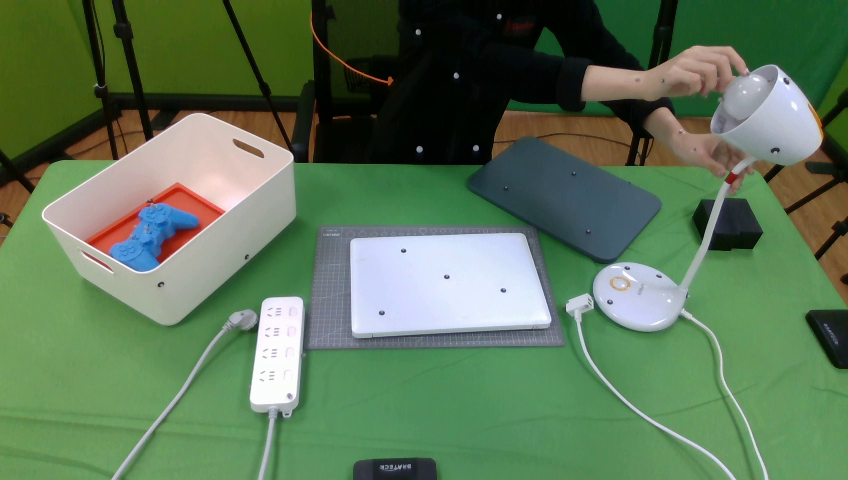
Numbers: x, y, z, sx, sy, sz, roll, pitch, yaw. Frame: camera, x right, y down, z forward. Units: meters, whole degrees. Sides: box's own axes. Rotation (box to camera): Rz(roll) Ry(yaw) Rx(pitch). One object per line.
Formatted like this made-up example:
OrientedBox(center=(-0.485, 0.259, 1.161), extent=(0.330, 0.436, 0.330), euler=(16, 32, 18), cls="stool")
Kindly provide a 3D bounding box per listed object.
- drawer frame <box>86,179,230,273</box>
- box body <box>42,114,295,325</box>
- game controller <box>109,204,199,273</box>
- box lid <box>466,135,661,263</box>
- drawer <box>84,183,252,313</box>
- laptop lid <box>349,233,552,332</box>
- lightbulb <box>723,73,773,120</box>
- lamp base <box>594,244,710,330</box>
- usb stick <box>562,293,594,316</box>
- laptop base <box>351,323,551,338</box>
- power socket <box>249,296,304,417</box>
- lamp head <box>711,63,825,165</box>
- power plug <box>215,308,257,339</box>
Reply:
OrientedBox(center=(-0.453, 0.010, 1.100), extent=(0.201, 0.083, 0.213), euler=(28, 54, 23), cls="drawer frame")
OrientedBox(center=(-0.437, -0.046, 1.110), extent=(0.253, 0.161, 0.363), euler=(24, 49, 19), cls="box body")
OrientedBox(center=(-0.467, -0.005, 1.044), extent=(0.097, 0.052, 0.154), euler=(8, 45, 10), cls="game controller")
OrientedBox(center=(0.306, -0.102, 1.327), extent=(0.370, 0.015, 0.263), euler=(32, 52, 25), cls="box lid")
OrientedBox(center=(-0.457, 0.008, 1.099), extent=(0.194, 0.073, 0.211), euler=(29, 49, 21), cls="drawer")
OrientedBox(center=(0.040, 0.070, 1.119), extent=(0.357, 0.013, 0.240), euler=(-1, 44, -5), cls="laptop lid")
OrientedBox(center=(0.448, -0.177, 0.807), extent=(0.108, 0.059, 0.059), euler=(35, 47, -12), cls="lightbulb")
OrientedBox(center=(0.412, 0.052, 1.070), extent=(0.179, 0.181, 0.160), euler=(18, 48, 9), cls="lamp base")
OrientedBox(center=(0.275, 0.118, 1.087), extent=(0.021, 0.059, 0.027), euler=(38, 45, -27), cls="usb stick")
OrientedBox(center=(0.040, 0.080, 1.126), extent=(0.355, 0.023, 0.234), euler=(-2, 43, -6), cls="laptop base")
OrientedBox(center=(-0.239, 0.182, 0.996), extent=(0.072, 0.033, 0.225), euler=(-2, 47, -5), cls="power socket")
OrientedBox(center=(0.466, -0.154, 0.812), extent=(0.123, 0.112, 0.112), euler=(36, 47, -13), cls="lamp head")
OrientedBox(center=(-0.317, 0.143, 1.024), extent=(0.072, 0.053, 0.035), euler=(-32, 57, -9), cls="power plug")
